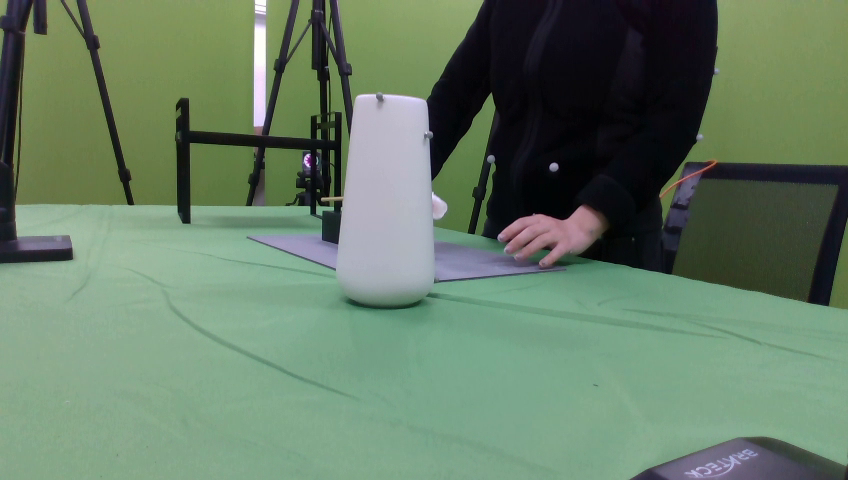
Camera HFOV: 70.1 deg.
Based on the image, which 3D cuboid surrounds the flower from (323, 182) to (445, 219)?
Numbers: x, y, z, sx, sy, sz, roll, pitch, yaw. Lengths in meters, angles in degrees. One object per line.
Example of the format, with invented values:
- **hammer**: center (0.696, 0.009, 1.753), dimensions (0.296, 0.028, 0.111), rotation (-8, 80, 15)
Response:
- **flower**: center (-0.082, -0.071, 0.940), dimensions (0.044, 0.038, 0.360), rotation (-23, 22, -27)

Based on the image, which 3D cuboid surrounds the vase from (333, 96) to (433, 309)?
- **vase**: center (-0.039, -0.036, 0.590), dimensions (0.098, 0.200, 0.098), rotation (1, 8, 0)
